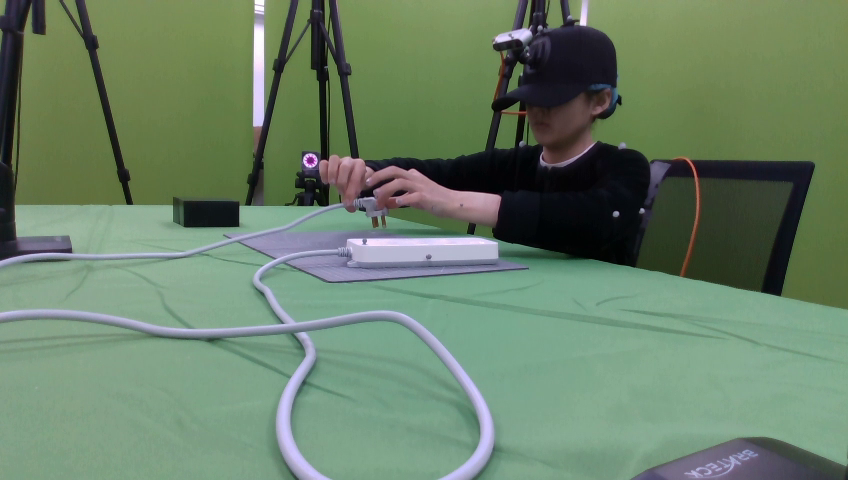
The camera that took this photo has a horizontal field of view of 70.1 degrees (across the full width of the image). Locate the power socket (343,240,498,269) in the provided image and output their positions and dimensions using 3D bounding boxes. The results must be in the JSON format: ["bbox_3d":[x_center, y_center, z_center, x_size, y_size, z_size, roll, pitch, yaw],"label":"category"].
[{"bbox_3d":[-0.002,0.018,0.829,0.228,0.032,0.072,0,7,-24],"label":"power socket"}]

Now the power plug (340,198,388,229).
[{"bbox_3d":[-0.091,-0.039,0.959,0.072,0.052,0.035,-8,3,23],"label":"power plug"}]
